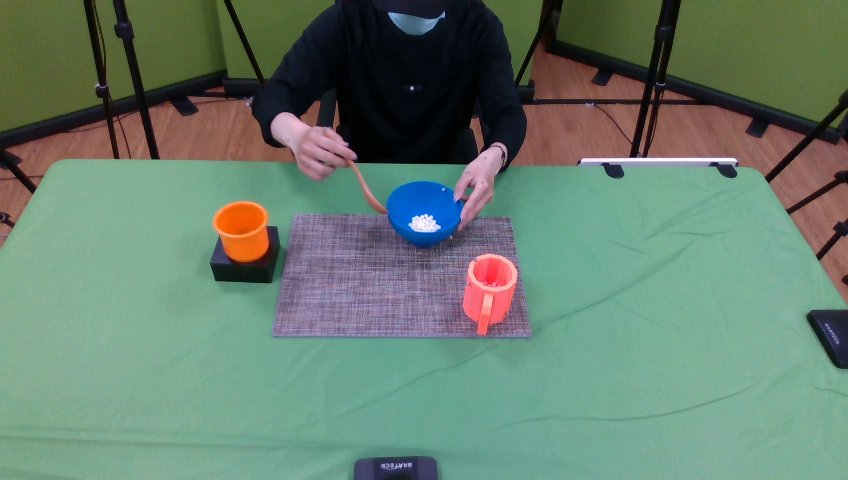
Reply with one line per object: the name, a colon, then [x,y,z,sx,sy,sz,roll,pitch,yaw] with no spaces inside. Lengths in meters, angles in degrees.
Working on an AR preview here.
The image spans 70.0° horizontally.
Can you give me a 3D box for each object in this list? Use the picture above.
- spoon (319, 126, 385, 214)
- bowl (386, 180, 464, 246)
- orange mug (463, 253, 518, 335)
spoon: [-0.130,-0.126,1.096,0.021,0.194,0.041,-30,11,3]
bowl: [0.000,-0.041,1.190,0.151,0.077,0.150,2,46,-2]
orange mug: [0.113,0.098,1.050,0.083,0.101,0.125,10,42,6]
